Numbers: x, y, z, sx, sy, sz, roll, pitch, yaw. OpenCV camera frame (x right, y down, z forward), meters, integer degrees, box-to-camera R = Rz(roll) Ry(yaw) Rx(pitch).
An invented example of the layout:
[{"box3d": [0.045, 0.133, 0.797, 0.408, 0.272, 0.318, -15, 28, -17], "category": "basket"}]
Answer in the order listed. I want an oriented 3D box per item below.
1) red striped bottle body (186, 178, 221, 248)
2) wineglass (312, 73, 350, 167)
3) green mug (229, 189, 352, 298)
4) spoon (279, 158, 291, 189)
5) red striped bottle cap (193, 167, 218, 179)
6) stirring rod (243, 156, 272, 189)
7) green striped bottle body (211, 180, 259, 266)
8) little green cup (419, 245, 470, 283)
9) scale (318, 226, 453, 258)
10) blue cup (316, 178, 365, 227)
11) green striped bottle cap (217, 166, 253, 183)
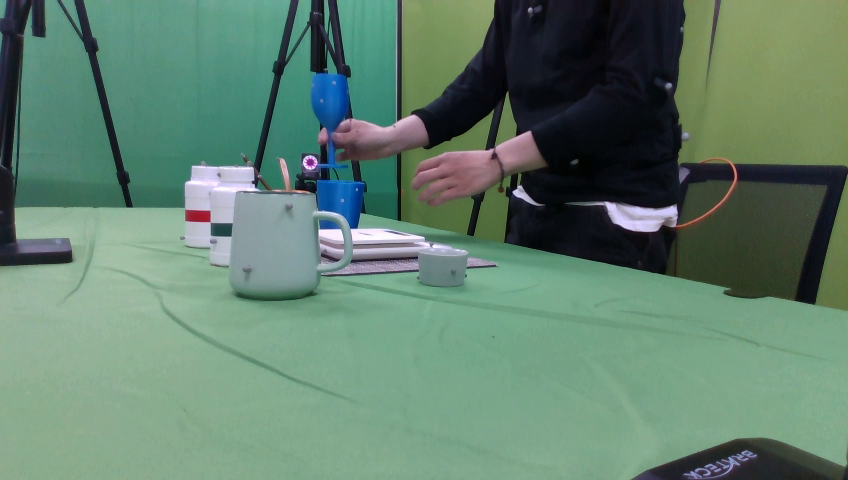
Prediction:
[{"box3d": [-0.331, -0.050, 0.927, 0.063, 0.119, 0.063, 2, 6, 0], "category": "red striped bottle body"}, {"box3d": [-0.177, -0.228, 1.158, 0.074, 0.172, 0.073, 0, 8, 0], "category": "wineglass"}, {"box3d": [-0.135, 0.002, 0.618, 0.125, 0.105, 0.092, 2, 7, 4], "category": "green mug"}, {"box3d": [-0.281, -0.103, 1.251, 0.042, 0.193, 0.021, 8, -40, -31], "category": "spoon"}, {"box3d": [-0.329, -0.103, 0.921, 0.044, 0.017, 0.044, 0, 9, 0], "category": "red striped bottle cap"}, {"box3d": [-0.304, -0.099, 1.201, 0.006, 0.177, 0.014, -27, 37, 8], "category": "stirring rod"}, {"box3d": [-0.243, -0.029, 0.784, 0.063, 0.119, 0.063, 2, 7, 0], "category": "green striped bottle body"}, {"box3d": [0.023, 0.028, 0.713, 0.061, 0.038, 0.061, 2, 6, 0], "category": "little green cup"}, {"box3d": [-0.066, 0.001, 0.906, 0.202, 0.031, 0.148, -2, 8, -31], "category": "scale"}, {"box3d": [-0.149, -0.057, 1.072, 0.093, 0.100, 0.092, 3, 8, 0], "category": "blue cup"}, {"box3d": [-0.242, -0.085, 0.777, 0.044, 0.020, 0.044, 2, 9, 0], "category": "green striped bottle cap"}]
